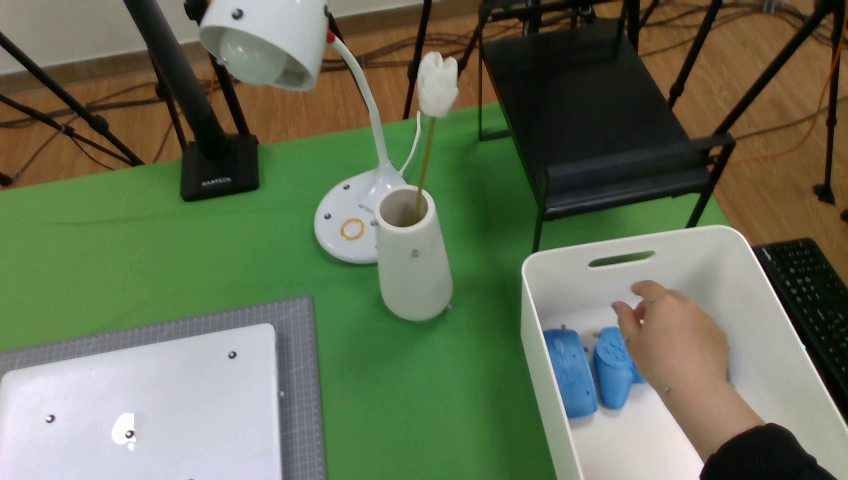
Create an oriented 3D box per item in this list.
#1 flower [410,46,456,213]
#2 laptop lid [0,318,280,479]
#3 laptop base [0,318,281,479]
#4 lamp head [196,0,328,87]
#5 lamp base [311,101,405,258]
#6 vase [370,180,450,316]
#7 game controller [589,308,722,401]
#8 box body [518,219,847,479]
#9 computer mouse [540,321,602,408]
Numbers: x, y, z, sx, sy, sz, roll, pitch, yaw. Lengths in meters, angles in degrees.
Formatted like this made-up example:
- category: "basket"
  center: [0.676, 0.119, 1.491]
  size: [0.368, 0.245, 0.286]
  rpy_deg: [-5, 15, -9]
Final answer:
- category: "flower"
  center: [-0.011, -0.044, 0.696]
  size: [0.038, 0.364, 0.043]
  rpy_deg: [-12, 44, -25]
- category: "laptop lid"
  center: [-0.354, 0.227, 0.728]
  size: [0.357, 0.013, 0.239]
  rpy_deg: [-9, 58, -2]
- category: "laptop base"
  center: [-0.354, 0.232, 0.739]
  size: [0.355, 0.023, 0.233]
  rpy_deg: [-10, 59, -4]
- category: "lamp head"
  center: [-0.138, -0.221, 0.574]
  size: [0.112, 0.113, 0.122]
  rpy_deg: [15, 76, 14]
- category: "lamp base"
  center: [-0.089, -0.095, 0.848]
  size: [0.160, 0.182, 0.178]
  rpy_deg: [18, 56, 16]
- category: "vase"
  center: [-0.020, 0.013, 0.758]
  size: [0.098, 0.202, 0.097]
  rpy_deg: [-3, 54, 4]
- category: "game controller"
  center: [0.279, 0.136, 0.741]
  size: [0.155, 0.052, 0.096]
  rpy_deg: [-8, 53, -2]
- category: "box body"
  center: [0.257, 0.180, 0.647]
  size: [0.254, 0.162, 0.360]
  rpy_deg: [-9, 55, -2]
- category: "computer mouse"
  center: [0.171, 0.148, 0.742]
  size: [0.063, 0.041, 0.116]
  rpy_deg: [-12, 47, -2]
